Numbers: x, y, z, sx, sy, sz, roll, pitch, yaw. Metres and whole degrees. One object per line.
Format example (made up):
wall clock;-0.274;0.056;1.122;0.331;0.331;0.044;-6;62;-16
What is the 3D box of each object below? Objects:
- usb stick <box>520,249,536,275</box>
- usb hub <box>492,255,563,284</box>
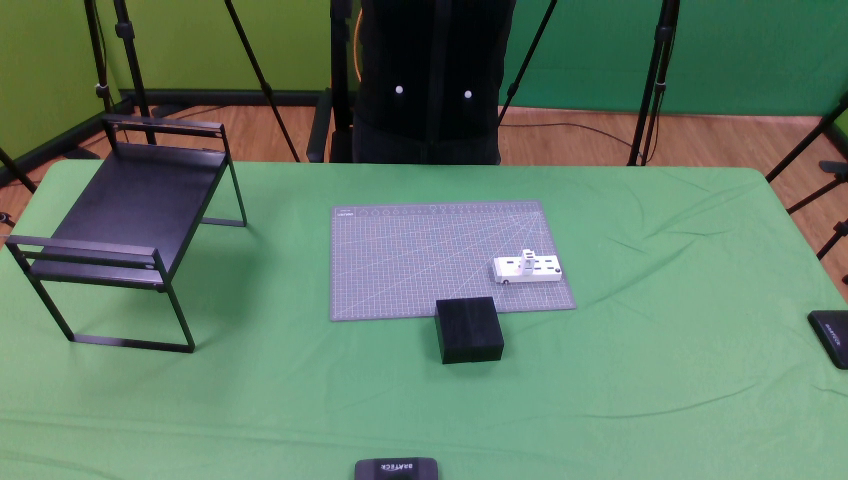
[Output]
usb stick;0.191;0.046;1.119;0.021;0.059;0.027;-2;47;-4
usb hub;0.196;0.056;1.150;0.125;0.025;0.049;-3;47;-6
